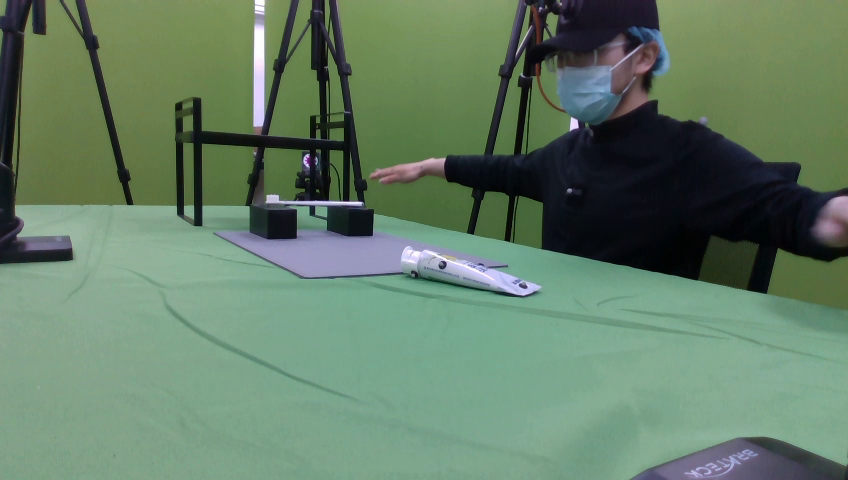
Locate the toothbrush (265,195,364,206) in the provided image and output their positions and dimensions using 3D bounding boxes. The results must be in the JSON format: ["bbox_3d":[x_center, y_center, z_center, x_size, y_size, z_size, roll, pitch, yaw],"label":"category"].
[{"bbox_3d":[-0.194,-0.069,1.090,0.183,0.016,0.014,0,-7,-27],"label":"toothbrush"}]

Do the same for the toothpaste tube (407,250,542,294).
[{"bbox_3d":[0.049,0.039,0.699,0.164,0.034,0.055,11,17,30],"label":"toothpaste tube"}]

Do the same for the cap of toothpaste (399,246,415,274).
[{"bbox_3d":[-0.018,0.025,0.741,0.011,0.037,0.037,5,8,24],"label":"cap of toothpaste"}]
